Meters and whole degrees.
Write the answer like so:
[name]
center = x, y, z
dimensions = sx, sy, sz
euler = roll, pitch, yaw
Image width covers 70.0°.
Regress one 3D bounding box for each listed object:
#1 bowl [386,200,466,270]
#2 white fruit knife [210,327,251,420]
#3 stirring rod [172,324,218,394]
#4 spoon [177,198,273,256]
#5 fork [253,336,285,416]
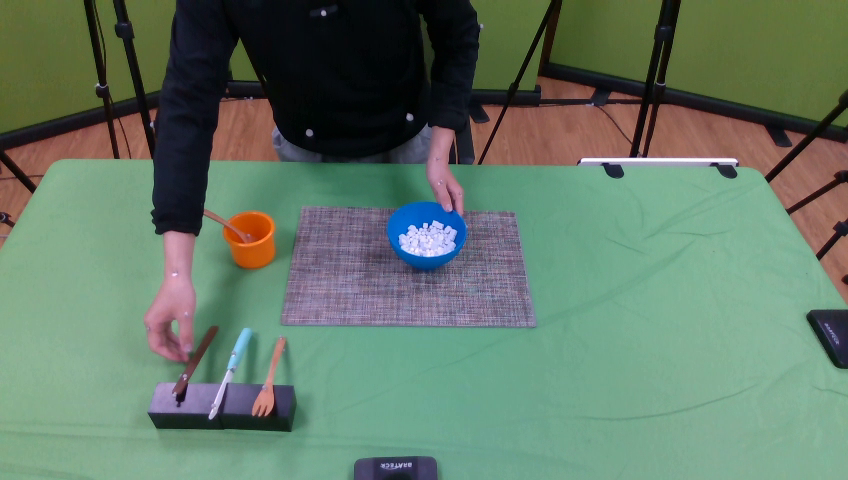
[bowl]
center = 0.001, 0.003, 1.150
dimensions = 0.151, 0.077, 0.150
euler = 2, 46, -2
[white fruit knife]
center = -0.298, 0.200, 0.937
dimensions = 0.016, 0.027, 0.206
euler = 1, 30, -1
[stirring rod]
center = -0.361, 0.185, 0.962
dimensions = 0.014, 0.006, 0.175
euler = 2, 26, 0
[spoon]
center = -0.361, -0.025, 1.107
dimensions = 0.021, 0.195, 0.041
euler = -30, 38, 30
[fork]
center = -0.235, 0.206, 0.938
dimensions = 0.028, 0.019, 0.206
euler = -3, 26, -3
